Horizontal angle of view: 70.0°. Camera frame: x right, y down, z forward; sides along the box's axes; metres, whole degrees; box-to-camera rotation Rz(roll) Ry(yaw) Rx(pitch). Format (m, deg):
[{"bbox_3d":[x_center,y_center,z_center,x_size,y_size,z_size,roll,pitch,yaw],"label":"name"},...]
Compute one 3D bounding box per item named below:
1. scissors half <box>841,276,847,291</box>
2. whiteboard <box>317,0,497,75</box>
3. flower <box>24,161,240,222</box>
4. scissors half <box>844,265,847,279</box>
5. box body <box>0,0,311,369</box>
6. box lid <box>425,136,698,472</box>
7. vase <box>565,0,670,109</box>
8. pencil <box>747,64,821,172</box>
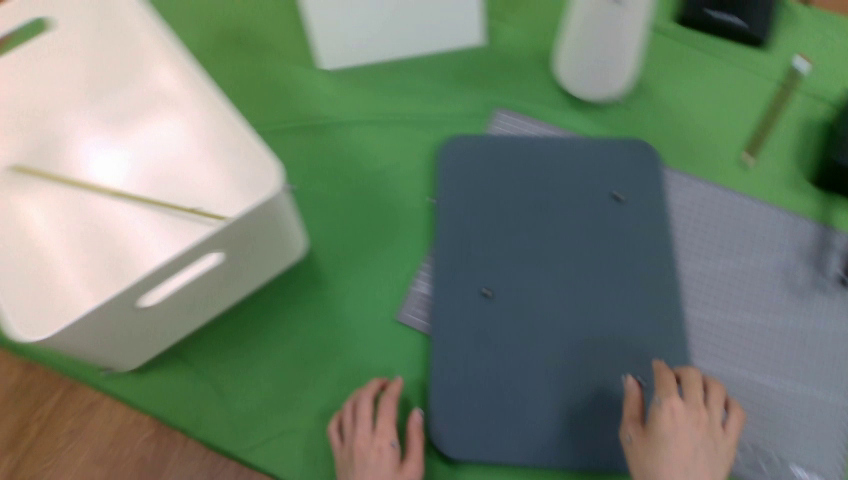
[{"bbox_3d":[0.479,-0.025,0.639,0.012,0.040,0.175,23,86,37],"label":"scissors half"},{"bbox_3d":[-0.033,-0.384,0.723,0.217,0.308,0.142,-9,46,-2],"label":"whiteboard"},{"bbox_3d":[-0.309,-0.050,0.692,0.360,0.038,0.044,14,95,12],"label":"flower"},{"bbox_3d":[0.470,-0.034,0.623,0.012,0.040,0.174,24,69,32],"label":"scissors half"},{"bbox_3d":[-0.314,-0.078,0.632,0.254,0.161,0.361,-35,69,-14],"label":"box body"},{"bbox_3d":[0.142,0.046,0.648,0.263,0.015,0.368,3,66,2],"label":"box lid"},{"bbox_3d":[0.220,-0.240,0.677,0.098,0.201,0.097,-1,63,2],"label":"vase"},{"bbox_3d":[0.436,-0.149,0.734,0.012,0.012,0.193,35,72,16],"label":"pencil"}]
